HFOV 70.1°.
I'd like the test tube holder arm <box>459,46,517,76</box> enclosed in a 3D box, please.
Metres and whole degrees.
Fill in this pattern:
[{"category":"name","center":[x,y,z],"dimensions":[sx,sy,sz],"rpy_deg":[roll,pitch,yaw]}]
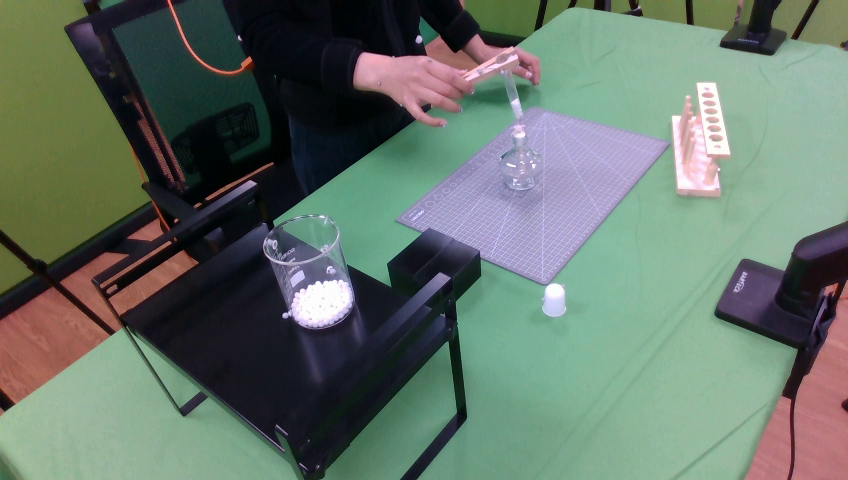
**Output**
[{"category":"test tube holder arm","center":[0.093,-0.257,0.879],"dimensions":[0.087,0.015,0.010],"rpy_deg":[-24,81,14]}]

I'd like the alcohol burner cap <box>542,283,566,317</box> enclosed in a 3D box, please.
[{"category":"alcohol burner cap","center":[0.181,0.080,0.839],"dimensions":[0.034,0.048,0.033],"rpy_deg":[-3,40,3]}]

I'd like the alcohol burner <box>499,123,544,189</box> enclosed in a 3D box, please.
[{"category":"alcohol burner","center":[0.168,-0.149,1.048],"dimensions":[0.078,0.119,0.077],"rpy_deg":[-6,41,5]}]

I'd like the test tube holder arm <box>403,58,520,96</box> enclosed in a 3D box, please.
[{"category":"test tube holder arm","center":[0.053,-0.240,0.890],"dimensions":[0.178,0.015,0.013],"rpy_deg":[-13,84,16]}]

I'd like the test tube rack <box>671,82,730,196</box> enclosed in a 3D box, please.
[{"category":"test tube rack","center":[0.482,-0.184,1.067],"dimensions":[0.066,0.085,0.242],"rpy_deg":[5,42,15]}]

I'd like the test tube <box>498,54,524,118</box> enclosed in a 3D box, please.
[{"category":"test tube","center":[0.136,-0.234,0.935],"dimensions":[0.017,0.151,0.017],"rpy_deg":[-7,66,16]}]

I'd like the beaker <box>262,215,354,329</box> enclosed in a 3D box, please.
[{"category":"beaker","center":[-0.112,0.034,0.616],"dimensions":[0.073,0.101,0.084],"rpy_deg":[13,44,23]}]
